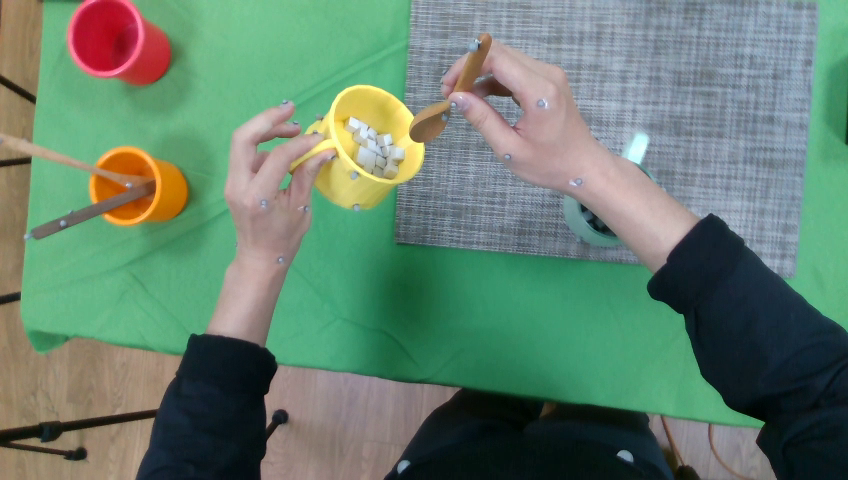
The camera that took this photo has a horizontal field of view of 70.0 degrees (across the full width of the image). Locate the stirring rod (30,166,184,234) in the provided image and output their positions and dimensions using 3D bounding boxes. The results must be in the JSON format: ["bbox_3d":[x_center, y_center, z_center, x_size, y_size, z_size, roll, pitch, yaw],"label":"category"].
[{"bbox_3d":[-0.362,-0.049,0.703,0.176,0.006,0.014,-32,87,-35],"label":"stirring rod"}]

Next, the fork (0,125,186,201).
[{"bbox_3d":[-0.380,-0.088,0.699,0.209,0.018,0.028,21,90,-36],"label":"fork"}]

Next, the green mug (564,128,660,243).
[{"bbox_3d":[0.204,-0.059,0.641,0.092,0.105,0.125,22,93,8],"label":"green mug"}]

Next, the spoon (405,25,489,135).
[{"bbox_3d":[0.019,-0.115,0.462,0.042,0.193,0.021,-22,91,-14],"label":"spoon"}]

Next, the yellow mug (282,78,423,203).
[{"bbox_3d":[-0.071,-0.088,0.562,0.064,0.131,0.099,-30,83,51],"label":"yellow mug"}]
